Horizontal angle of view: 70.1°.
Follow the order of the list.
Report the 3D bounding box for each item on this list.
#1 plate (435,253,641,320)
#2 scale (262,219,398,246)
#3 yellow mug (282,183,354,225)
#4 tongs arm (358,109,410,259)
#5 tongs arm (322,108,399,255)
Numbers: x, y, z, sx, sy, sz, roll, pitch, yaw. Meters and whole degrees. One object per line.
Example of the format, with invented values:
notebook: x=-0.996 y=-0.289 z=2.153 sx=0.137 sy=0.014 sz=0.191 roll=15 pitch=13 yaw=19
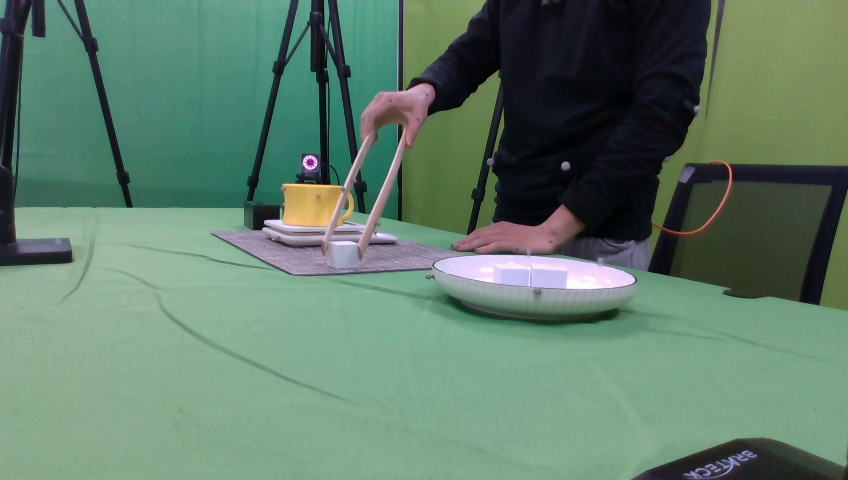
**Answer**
plate: x=0.114 y=0.047 z=0.626 sx=0.208 sy=0.039 sz=0.207 roll=2 pitch=7 yaw=0
scale: x=-0.160 y=-0.016 z=1.028 sx=0.202 sy=0.031 sz=0.148 roll=-2 pitch=9 yaw=-31
yellow mug: x=-0.172 y=-0.061 z=1.009 sx=0.131 sy=0.064 sz=0.099 roll=-2 pitch=7 yaw=-41
tongs arm: x=-0.058 y=-0.102 z=0.917 sx=0.028 sy=0.028 sz=0.387 roll=2 pitch=38 yaw=9
tongs arm: x=-0.087 y=-0.105 z=0.920 sx=0.051 sy=0.026 sz=0.384 roll=3 pitch=38 yaw=5
